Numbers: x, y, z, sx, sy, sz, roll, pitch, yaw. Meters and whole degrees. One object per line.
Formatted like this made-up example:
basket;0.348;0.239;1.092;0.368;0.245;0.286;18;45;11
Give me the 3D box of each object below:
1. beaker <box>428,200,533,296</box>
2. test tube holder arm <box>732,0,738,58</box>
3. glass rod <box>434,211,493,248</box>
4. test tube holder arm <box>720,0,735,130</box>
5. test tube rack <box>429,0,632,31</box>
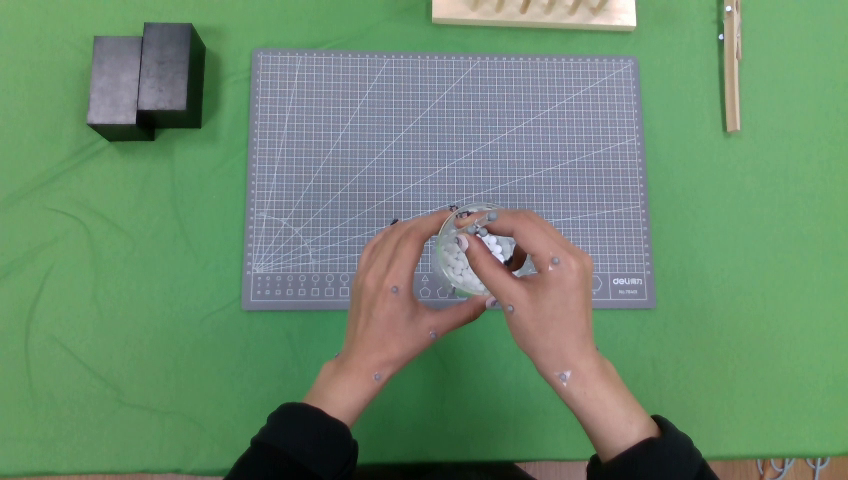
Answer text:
beaker;0.043;0.012;0.521;0.084;0.100;0.074;19;82;-2
test tube holder arm;0.371;-0.260;0.732;0.010;0.015;0.087;12;78;-31
glass rod;0.025;-0.004;0.460;0.008;0.199;0.008;1;84;-8
test tube holder arm;0.362;-0.217;0.721;0.013;0.015;0.177;12;78;-31
test tube rack;0.129;-0.295;0.690;0.242;0.085;0.066;1;79;-3
